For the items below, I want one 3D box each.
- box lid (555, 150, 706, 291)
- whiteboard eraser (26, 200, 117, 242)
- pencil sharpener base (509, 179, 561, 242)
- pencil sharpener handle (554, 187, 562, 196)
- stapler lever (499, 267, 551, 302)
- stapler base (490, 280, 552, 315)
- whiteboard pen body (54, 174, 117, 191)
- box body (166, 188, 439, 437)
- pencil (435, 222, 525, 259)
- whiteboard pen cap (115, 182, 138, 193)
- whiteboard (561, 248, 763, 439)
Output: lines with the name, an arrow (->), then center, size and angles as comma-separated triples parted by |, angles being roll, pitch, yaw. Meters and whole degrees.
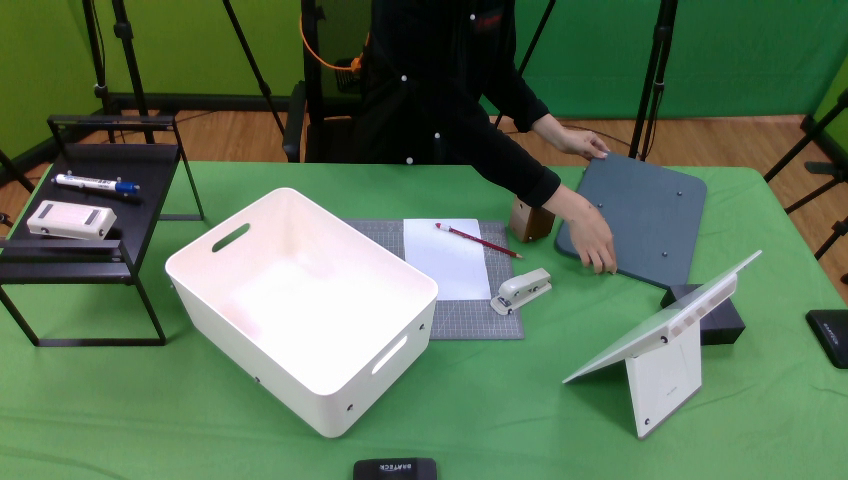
box lid -> 0.451, -0.059, 1.297 | 0.263, 0.015, 0.370 | 20, 48, 14
whiteboard eraser -> -0.532, -0.026, 0.919 | 0.113, 0.042, 0.055 | 7, 45, 3
pencil sharpener base -> 0.222, -0.059, 1.212 | 0.077, 0.107, 0.061 | -18, 50, -21
pencil sharpener handle -> 0.266, -0.085, 1.223 | 0.031, 0.068, 0.036 | -18, 65, -21
stapler lever -> 0.185, 0.076, 1.101 | 0.118, 0.040, 0.026 | -25, 57, -29
stapler base -> 0.181, 0.094, 1.118 | 0.130, 0.024, 0.041 | -24, 57, -29
whiteboard pen body -> -0.541, -0.093, 0.993 | 0.140, 0.017, 0.017 | 7, 46, 9
box body -> -0.190, 0.108, 0.980 | 0.362, 0.161, 0.254 | 32, 52, 23
pencil -> 0.111, 0.001, 1.211 | 0.193, 0.012, 0.012 | 22, 49, 14
whiteboard pen cap -> -0.483, -0.086, 0.984 | 0.033, 0.018, 0.018 | 7, 46, 10
whiteboard -> 0.386, 0.176, 0.905 | 0.217, 0.306, 0.143 | -26, 72, -27
